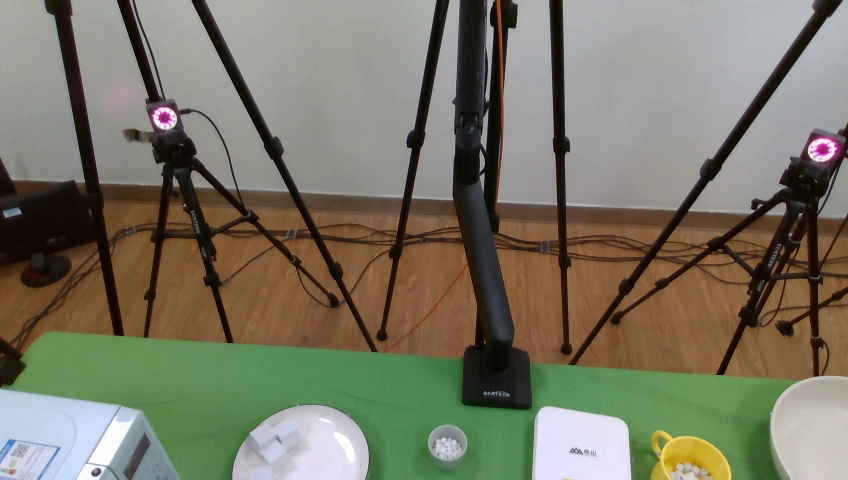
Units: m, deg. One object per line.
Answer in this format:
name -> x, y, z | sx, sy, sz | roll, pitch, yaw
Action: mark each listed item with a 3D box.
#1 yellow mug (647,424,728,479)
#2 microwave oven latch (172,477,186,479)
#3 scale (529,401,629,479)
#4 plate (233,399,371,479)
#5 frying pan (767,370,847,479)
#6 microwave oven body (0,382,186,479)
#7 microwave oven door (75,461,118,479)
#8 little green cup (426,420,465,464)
yellow mug -> 0.388, 0.336, 0.921 | 0.100, 0.064, 0.129 | -19, 45, -19
microwave oven latch -> -0.362, 0.383, 0.864 | 0.030, 0.030, 0.078 | 8, 43, 8
scale -> 0.239, 0.348, 0.935 | 0.148, 0.032, 0.199 | 6, 43, 8
plate -> -0.185, 0.344, 0.935 | 0.208, 0.039, 0.205 | 0, 42, 0
frying pan -> 0.703, 0.387, 0.836 | 0.307, 0.103, 0.482 | -15, 36, -15
microwave oven body -> -0.535, 0.414, 0.684 | 0.326, 0.262, 0.438 | 6, 43, 6
microwave oven door -> -0.397, 0.452, 0.635 | 0.039, 0.246, 0.353 | 5, 42, 6
little green cup -> 0.034, 0.322, 0.959 | 0.061, 0.039, 0.061 | 0, 42, 0
